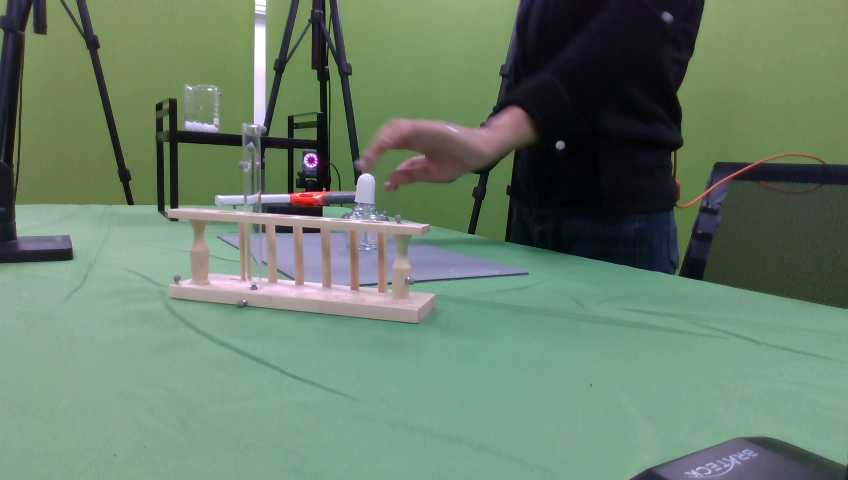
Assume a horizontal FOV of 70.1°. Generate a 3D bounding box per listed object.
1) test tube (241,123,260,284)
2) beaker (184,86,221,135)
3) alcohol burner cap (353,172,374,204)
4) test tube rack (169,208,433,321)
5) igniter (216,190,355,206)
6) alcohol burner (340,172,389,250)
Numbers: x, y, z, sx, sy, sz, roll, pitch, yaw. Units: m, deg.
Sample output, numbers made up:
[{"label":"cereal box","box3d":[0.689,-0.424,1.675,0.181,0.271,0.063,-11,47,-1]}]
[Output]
[{"label":"test tube","box3d":[-0.160,-0.032,0.558,0.017,0.150,0.017,3,13,0]},{"label":"beaker","box3d":[-0.475,-0.277,1.296,0.074,0.100,0.084,2,8,-1]},{"label":"alcohol burner cap","box3d":[-0.092,-0.081,0.936,0.034,0.048,0.034,6,10,-1]},{"label":"test tube rack","box3d":[-0.115,0.018,0.574,0.242,0.085,0.067,4,8,13]},{"label":"igniter","box3d":[-0.248,-0.079,1.152,0.278,0.025,0.057,-4,11,-27]},{"label":"alcohol burner","box3d":[-0.093,-0.045,0.939,0.078,0.119,0.078,0,7,0]}]
